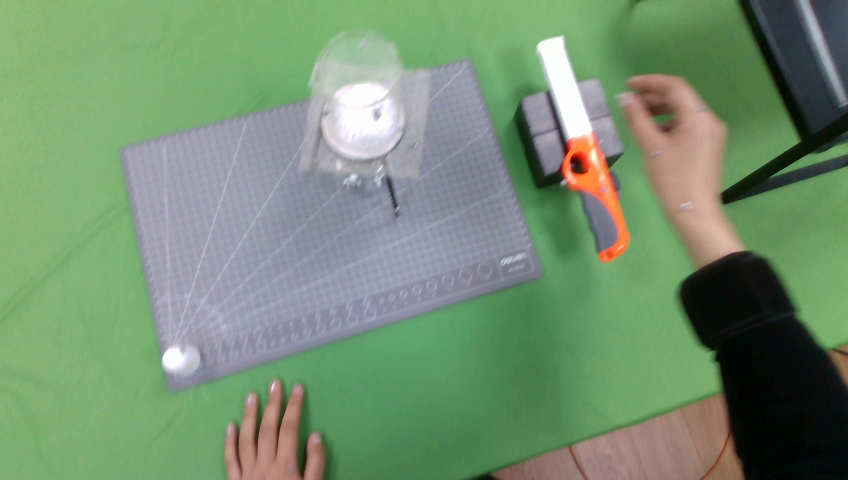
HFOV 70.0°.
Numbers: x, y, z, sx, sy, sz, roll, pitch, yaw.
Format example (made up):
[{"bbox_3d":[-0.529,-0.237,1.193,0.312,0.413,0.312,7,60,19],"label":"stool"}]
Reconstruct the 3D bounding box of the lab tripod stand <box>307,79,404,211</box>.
[{"bbox_3d":[-0.068,-0.115,0.686,0.148,0.132,0.147,1,75,-2],"label":"lab tripod stand"}]

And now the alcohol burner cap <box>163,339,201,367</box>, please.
[{"bbox_3d":[-0.270,0.124,0.668,0.034,0.048,0.033,1,77,-4],"label":"alcohol burner cap"}]

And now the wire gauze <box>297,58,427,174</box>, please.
[{"bbox_3d":[-0.062,-0.127,0.623,0.121,0.011,0.124,6,73,-4],"label":"wire gauze"}]

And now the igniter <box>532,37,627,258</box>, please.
[{"bbox_3d":[0.181,-0.112,0.709,0.057,0.025,0.275,-14,77,-3],"label":"igniter"}]

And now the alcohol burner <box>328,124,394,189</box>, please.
[{"bbox_3d":[-0.073,-0.101,0.693,0.078,0.119,0.077,1,79,-2],"label":"alcohol burner"}]

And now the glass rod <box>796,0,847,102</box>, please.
[{"bbox_3d":[0.393,-0.232,0.621,0.008,0.008,0.198,-15,79,-6],"label":"glass rod"}]

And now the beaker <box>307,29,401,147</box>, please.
[{"bbox_3d":[-0.063,-0.137,0.575,0.084,0.100,0.073,-16,76,-6],"label":"beaker"}]
